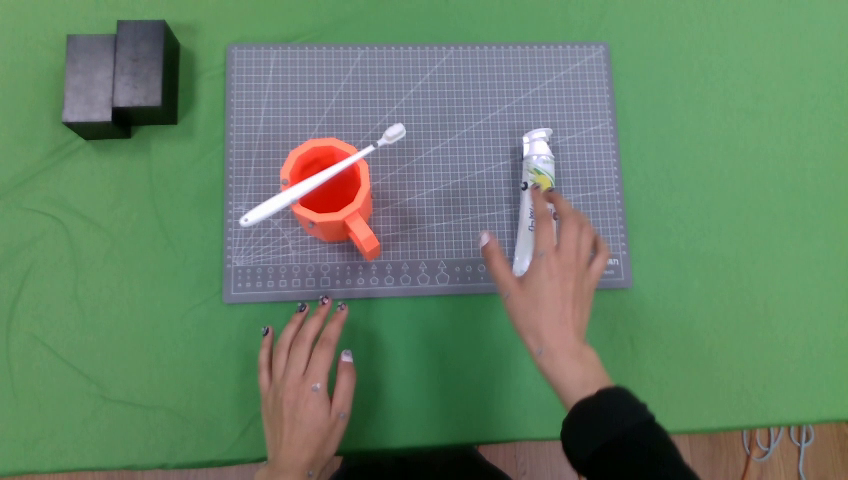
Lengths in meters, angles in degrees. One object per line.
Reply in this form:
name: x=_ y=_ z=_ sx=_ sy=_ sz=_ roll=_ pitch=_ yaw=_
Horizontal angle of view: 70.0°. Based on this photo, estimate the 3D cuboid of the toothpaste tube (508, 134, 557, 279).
toothpaste tube: x=0.120 y=-0.039 z=0.678 sx=0.055 sy=0.034 sz=0.164 roll=0 pitch=83 yaw=3

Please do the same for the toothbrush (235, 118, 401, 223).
toothbrush: x=-0.099 y=-0.067 z=0.577 sx=0.182 sy=0.016 sz=0.014 roll=-33 pitch=87 yaw=-9

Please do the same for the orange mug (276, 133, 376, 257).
orange mug: x=-0.092 y=-0.040 z=0.625 sx=0.083 sy=0.101 sz=0.125 roll=-36 pitch=79 yaw=-10

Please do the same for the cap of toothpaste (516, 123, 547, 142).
cap of toothpaste: x=0.123 y=-0.121 z=0.687 sx=0.037 sy=0.037 sz=0.011 roll=-11 pitch=77 yaw=-6
